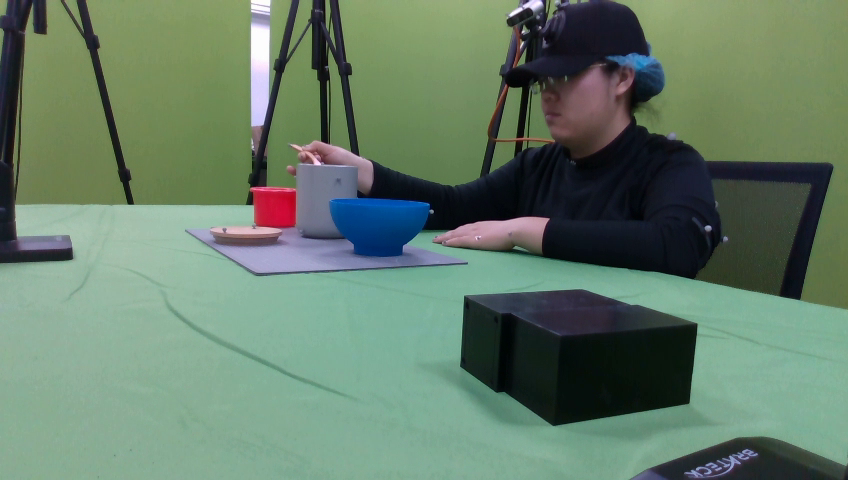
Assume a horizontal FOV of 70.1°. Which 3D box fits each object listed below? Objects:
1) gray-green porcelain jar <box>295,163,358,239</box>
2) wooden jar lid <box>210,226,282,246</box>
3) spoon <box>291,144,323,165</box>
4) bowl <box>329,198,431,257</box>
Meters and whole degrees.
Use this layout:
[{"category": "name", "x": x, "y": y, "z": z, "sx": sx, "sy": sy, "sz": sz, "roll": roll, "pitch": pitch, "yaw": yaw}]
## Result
[{"category": "gray-green porcelain jar", "x": -0.170, "y": -0.069, "z": 1.054, "sx": 0.106, "sy": 0.126, "sz": 0.106, "roll": 3, "pitch": 7, "yaw": 0}, {"category": "wooden jar lid", "x": -0.279, "y": -0.007, "z": 0.951, "sx": 0.108, "sy": 0.020, "sz": 0.108, "roll": 2, "pitch": 8, "yaw": 0}, {"category": "spoon", "x": -0.203, "y": -0.147, "z": 1.094, "sx": 0.042, "sy": 0.021, "sz": 0.192, "roll": 0, "pitch": 26, "yaw": -32}, {"category": "bowl", "x": -0.066, "y": -0.019, "z": 0.894, "sx": 0.151, "sy": 0.077, "sz": 0.151, "roll": 3, "pitch": 7, "yaw": 0}]
